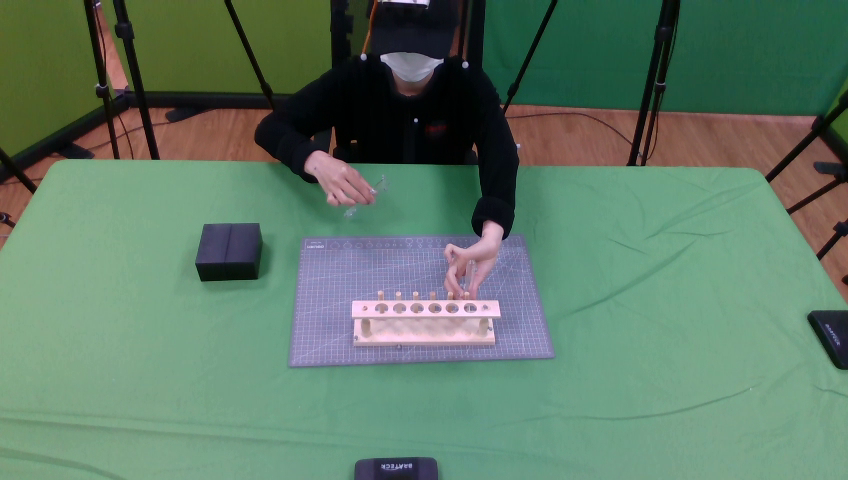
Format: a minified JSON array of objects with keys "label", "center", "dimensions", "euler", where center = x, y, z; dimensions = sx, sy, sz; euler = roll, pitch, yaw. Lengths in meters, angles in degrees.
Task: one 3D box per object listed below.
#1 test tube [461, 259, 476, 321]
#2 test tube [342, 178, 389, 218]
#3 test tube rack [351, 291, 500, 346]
[{"label":"test tube","center":[0.072,0.085,1.012],"dimensions":[0.017,0.151,0.017],"euler":[1,46,-1]},{"label":"test tube","center":[-0.115,-0.078,1.162],"dimensions":[0.017,0.150,0.017],"euler":[21,53,-31]},{"label":"test tube rack","center":[0.001,0.129,1.026],"dimensions":[0.242,0.085,0.066],"euler":[0,46,-4]}]
